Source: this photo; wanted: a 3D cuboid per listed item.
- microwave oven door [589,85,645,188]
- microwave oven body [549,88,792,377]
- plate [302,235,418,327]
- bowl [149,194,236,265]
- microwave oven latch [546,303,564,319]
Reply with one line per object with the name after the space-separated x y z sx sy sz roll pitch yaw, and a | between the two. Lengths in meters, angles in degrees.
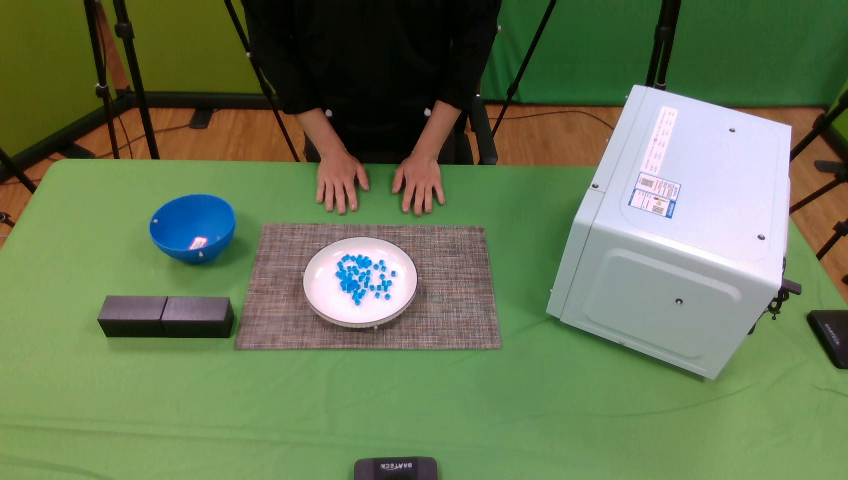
0.342 -0.107 1.149 0.039 0.245 0.354 20 48 15 | microwave oven door
0.456 -0.028 1.088 0.325 0.261 0.440 20 47 16 | microwave oven body
-0.114 0.077 1.098 0.208 0.039 0.206 2 46 -2 | plate
-0.425 -0.008 1.134 0.151 0.077 0.150 2 46 -2 | bowl
0.242 0.102 1.081 0.030 0.029 0.079 22 48 17 | microwave oven latch
